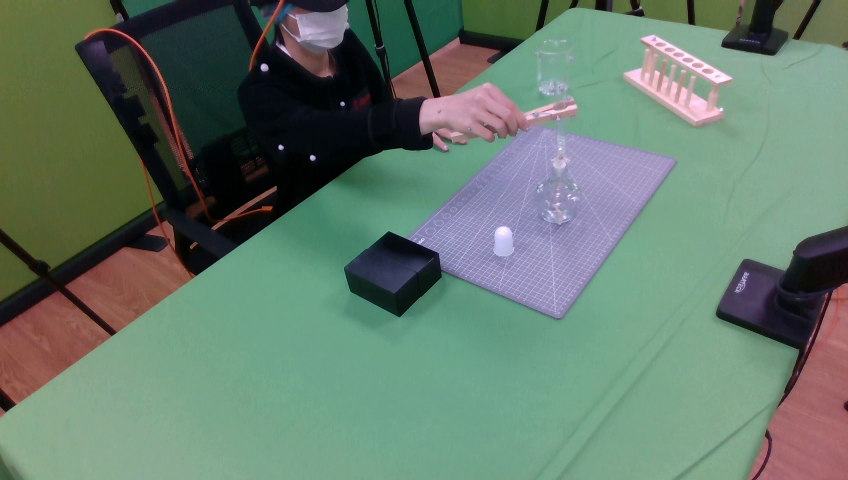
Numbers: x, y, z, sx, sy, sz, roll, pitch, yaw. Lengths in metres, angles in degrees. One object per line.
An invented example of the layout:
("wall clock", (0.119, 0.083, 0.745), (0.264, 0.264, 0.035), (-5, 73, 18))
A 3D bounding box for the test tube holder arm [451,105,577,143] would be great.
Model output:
("test tube holder arm", (0.126, -0.163, 0.850), (0.178, 0.015, 0.013), (-13, 51, 6))

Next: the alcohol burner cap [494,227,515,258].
("alcohol burner cap", (0.124, 0.001, 0.936), (0.034, 0.048, 0.033), (-4, 40, 4))

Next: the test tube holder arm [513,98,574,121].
("test tube holder arm", (0.168, -0.179, 0.850), (0.088, 0.015, 0.010), (-18, 51, 2))

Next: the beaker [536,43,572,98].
("beaker", (0.280, -0.368, 1.311), (0.074, 0.101, 0.084), (4, 41, 14))

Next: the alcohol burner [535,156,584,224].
("alcohol burner", (0.217, -0.085, 0.967), (0.078, 0.119, 0.077), (-3, 41, 3))

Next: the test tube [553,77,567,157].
("test tube", (0.195, -0.171, 0.862), (0.017, 0.151, 0.017), (-7, 55, 10))

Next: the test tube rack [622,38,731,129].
("test tube rack", (0.506, -0.325, 1.234), (0.067, 0.085, 0.240), (-18, 41, -11))
